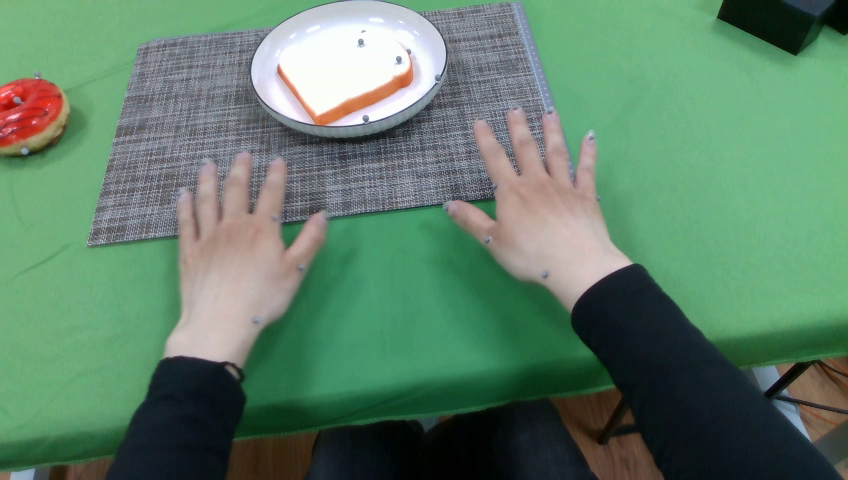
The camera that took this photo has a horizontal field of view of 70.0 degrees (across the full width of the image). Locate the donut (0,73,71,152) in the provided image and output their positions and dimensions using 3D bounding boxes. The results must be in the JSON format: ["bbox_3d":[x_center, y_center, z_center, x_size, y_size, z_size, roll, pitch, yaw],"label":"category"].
[{"bbox_3d":[-0.423,-0.135,0.636,0.099,0.049,0.098,-2,55,4],"label":"donut"}]

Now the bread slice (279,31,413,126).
[{"bbox_3d":[-0.080,-0.183,0.653,0.131,0.019,0.104,-28,59,-15],"label":"bread slice"}]

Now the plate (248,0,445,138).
[{"bbox_3d":[-0.080,-0.180,0.649,0.207,0.039,0.205,-1,55,2],"label":"plate"}]
